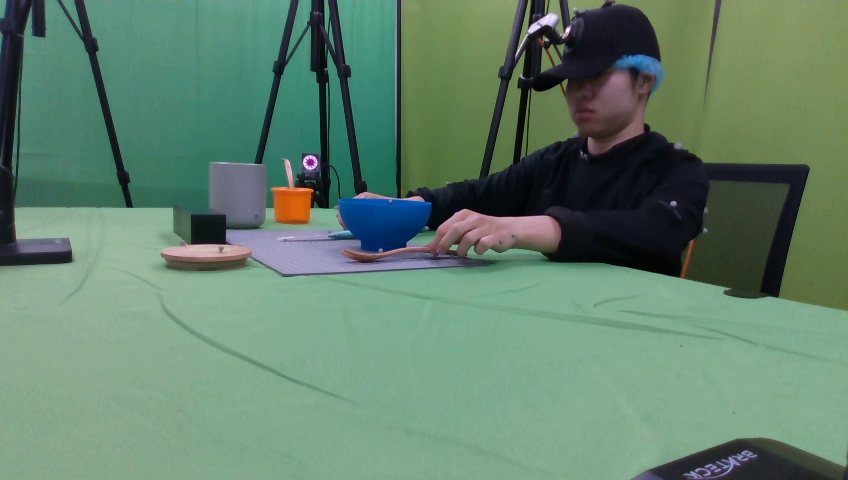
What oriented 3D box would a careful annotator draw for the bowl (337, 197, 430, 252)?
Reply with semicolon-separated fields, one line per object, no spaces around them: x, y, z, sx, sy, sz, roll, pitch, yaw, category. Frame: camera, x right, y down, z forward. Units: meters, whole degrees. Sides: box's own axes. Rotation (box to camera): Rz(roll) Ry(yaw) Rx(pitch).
-0.066;-0.024;0.967;0.151;0.077;0.151;3;7;0;bowl

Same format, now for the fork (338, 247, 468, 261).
-0.024;0.019;0.864;0.208;0.018;0.028;-1;-24;-32;fork

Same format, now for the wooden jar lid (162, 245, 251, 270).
-0.278;0.022;0.777;0.108;0.020;0.108;2;6;0;wooden jar lid

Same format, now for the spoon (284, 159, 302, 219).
-0.302;-0.118;1.370;0.042;0.193;0.021;4;-39;-24;spoon

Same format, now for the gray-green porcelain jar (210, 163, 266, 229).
-0.367;-0.088;1.195;0.106;0.126;0.106;3;8;0;gray-green porcelain jar

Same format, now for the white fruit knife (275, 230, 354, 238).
-0.159;-0.009;1.058;0.208;0.016;0.027;-3;-5;-33;white fruit knife
